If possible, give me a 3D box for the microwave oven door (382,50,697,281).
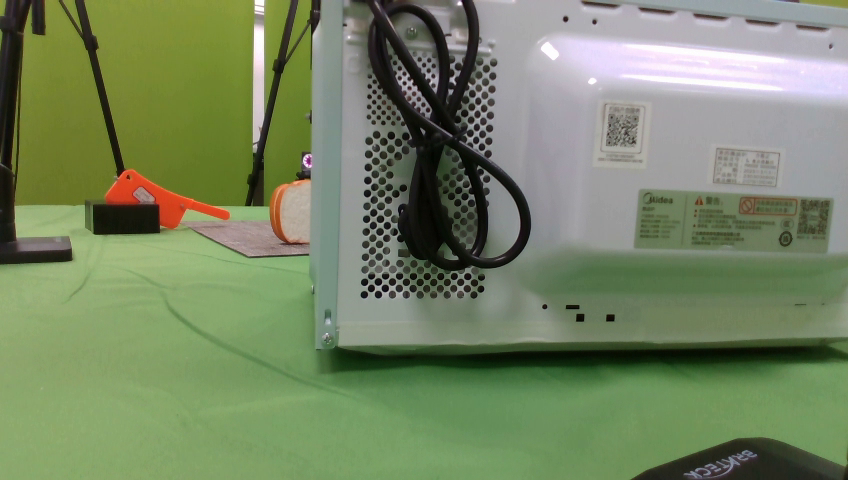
[{"bbox_3d":[0.135,-0.077,0.685,0.357,0.243,0.039,1,8,-12],"label":"microwave oven door"}]

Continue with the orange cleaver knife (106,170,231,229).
[{"bbox_3d":[-0.458,-0.060,1.097,0.212,0.077,0.012,23,-5,-38],"label":"orange cleaver knife"}]

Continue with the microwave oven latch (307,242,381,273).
[{"bbox_3d":[-0.086,0.019,0.656,0.079,0.029,0.030,2,7,-10],"label":"microwave oven latch"}]

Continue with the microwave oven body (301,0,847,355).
[{"bbox_3d":[0.120,-0.053,0.535,0.443,0.260,0.325,2,7,-11],"label":"microwave oven body"}]

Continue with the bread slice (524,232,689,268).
[{"bbox_3d":[0.174,0.008,0.565,0.134,0.018,0.107,-5,4,27],"label":"bread slice"}]

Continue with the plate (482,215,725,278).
[{"bbox_3d":[0.157,0.004,0.546,0.208,0.039,0.207,-2,6,1],"label":"plate"}]
